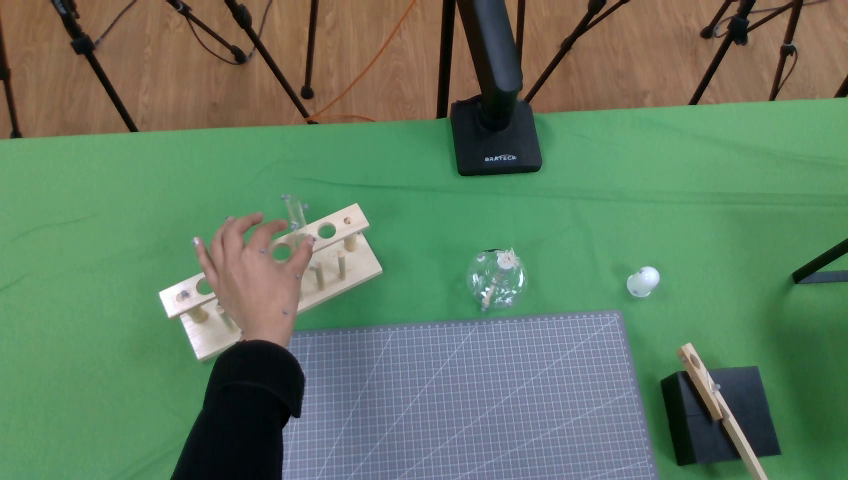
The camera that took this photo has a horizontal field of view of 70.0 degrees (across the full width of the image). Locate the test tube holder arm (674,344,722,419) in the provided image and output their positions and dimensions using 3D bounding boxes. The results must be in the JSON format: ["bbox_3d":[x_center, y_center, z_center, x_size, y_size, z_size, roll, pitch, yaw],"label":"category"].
[{"bbox_3d":[0.315,0.162,0.693,0.010,0.015,0.087,-21,70,-14],"label":"test tube holder arm"}]

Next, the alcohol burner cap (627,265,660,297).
[{"bbox_3d":[0.285,0.051,0.780,0.034,0.048,0.033,1,65,-2],"label":"alcohol burner cap"}]

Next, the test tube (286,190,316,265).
[{"bbox_3d":[-0.141,-0.009,0.700,0.017,0.151,0.017,1,60,-2],"label":"test tube"}]

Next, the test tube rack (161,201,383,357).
[{"bbox_3d":[-0.173,0.047,0.727,0.242,0.086,0.066,-26,70,-14],"label":"test tube rack"}]

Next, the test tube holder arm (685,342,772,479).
[{"bbox_3d":[0.339,0.198,0.680,0.013,0.015,0.177,-22,71,-15],"label":"test tube holder arm"}]

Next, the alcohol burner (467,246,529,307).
[{"bbox_3d":[0.093,0.038,0.734,0.078,0.120,0.077,2,67,-4],"label":"alcohol burner"}]
